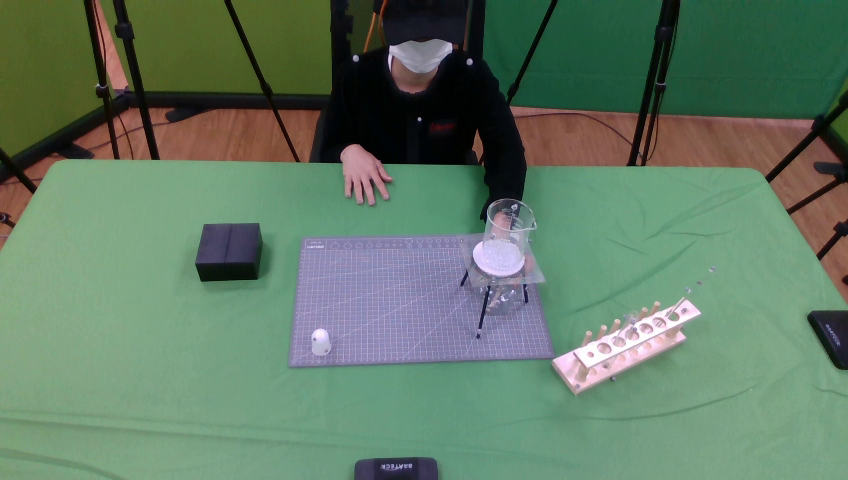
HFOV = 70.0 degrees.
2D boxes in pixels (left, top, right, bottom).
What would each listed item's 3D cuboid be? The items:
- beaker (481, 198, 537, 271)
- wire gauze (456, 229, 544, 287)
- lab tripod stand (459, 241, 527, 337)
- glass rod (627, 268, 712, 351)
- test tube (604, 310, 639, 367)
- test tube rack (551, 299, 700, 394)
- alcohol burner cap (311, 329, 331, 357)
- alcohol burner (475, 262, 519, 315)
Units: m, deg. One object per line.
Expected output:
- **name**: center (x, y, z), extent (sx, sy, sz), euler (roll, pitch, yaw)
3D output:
- **beaker**: center (0.133, -0.005, 0.974), extent (0.084, 0.101, 0.074), euler (23, 49, 16)
- **wire gauze**: center (0.125, 0.030, 1.008), extent (0.125, 0.011, 0.120), euler (-3, 48, -11)
- **lab tripod stand**: center (0.122, 0.075, 1.054), extent (0.148, 0.132, 0.147), euler (3, 44, -3)
- **glass rod**: center (0.399, 0.117, 0.995), extent (0.008, 0.200, 0.008), euler (26, 29, -15)
- **test tube**: center (0.310, 0.158, 0.957), extent (0.017, 0.151, 0.017), euler (1, 49, -1)
- **test tube rack**: center (0.339, 0.166, 1.021), extent (0.242, 0.085, 0.066), euler (-19, 50, -21)
- **alcohol burner cap**: center (-0.173, 0.168, 1.005), extent (0.034, 0.048, 0.033), euler (2, 46, -2)
- **alcohol burner**: center (0.131, 0.078, 1.066), extent (0.078, 0.119, 0.077), euler (2, 48, -2)
